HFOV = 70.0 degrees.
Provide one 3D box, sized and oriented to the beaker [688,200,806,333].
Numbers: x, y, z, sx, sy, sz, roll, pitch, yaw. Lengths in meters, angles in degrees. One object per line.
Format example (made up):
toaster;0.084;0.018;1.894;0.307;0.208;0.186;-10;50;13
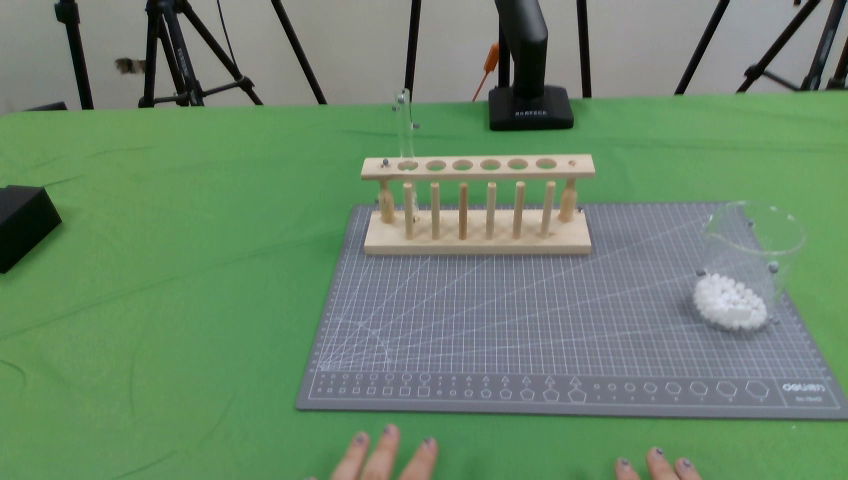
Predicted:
beaker;0.279;0.027;0.540;0.084;0.101;0.073;0;39;6

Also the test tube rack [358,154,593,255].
test tube rack;0.054;-0.037;0.651;0.242;0.086;0.066;0;39;5

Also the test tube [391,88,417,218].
test tube;-0.020;-0.088;0.641;0.017;0.151;0.017;-3;36;2
